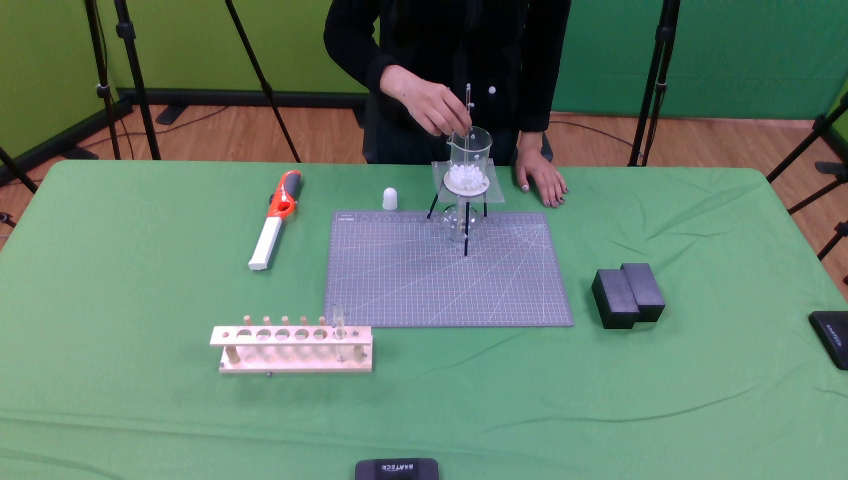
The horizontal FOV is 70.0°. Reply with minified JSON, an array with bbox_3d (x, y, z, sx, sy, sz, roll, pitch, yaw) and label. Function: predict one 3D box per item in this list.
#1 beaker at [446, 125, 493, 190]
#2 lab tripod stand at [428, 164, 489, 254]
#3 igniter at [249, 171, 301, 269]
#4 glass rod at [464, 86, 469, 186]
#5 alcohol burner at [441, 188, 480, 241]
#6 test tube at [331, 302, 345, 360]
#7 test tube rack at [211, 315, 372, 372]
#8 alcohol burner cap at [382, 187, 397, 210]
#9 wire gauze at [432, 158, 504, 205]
[{"bbox_3d":[0.079,-0.147,1.106,0.084,0.101,0.073,-3,47,-7],"label":"beaker"},{"bbox_3d":[0.078,-0.068,1.188,0.148,0.132,0.147,3,47,-3],"label":"lab tripod stand"},{"bbox_3d":[-0.297,-0.049,1.221,0.057,0.025,0.275,-1,45,9],"label":"igniter"},{"bbox_3d":[0.075,-0.176,1.058,0.008,0.201,0.008,-1,41,1],"label":"glass rod"},{"bbox_3d":[0.073,-0.055,1.189,0.078,0.120,0.077,1,48,-1],"label":"alcohol burner"},{"bbox_3d":[-0.132,0.144,0.938,0.017,0.151,0.017,2,49,-3],"label":"test tube"},{"bbox_3d":[-0.208,0.164,0.982,0.242,0.085,0.066,1,46,-4],"label":"test tube rack"},{"bbox_3d":[-0.072,-0.090,1.266,0.034,0.048,0.033,3,47,-3],"label":"alcohol burner cap"},{"bbox_3d":[0.081,-0.111,1.138,0.125,0.011,0.120,0,48,-7],"label":"wire gauze"}]
